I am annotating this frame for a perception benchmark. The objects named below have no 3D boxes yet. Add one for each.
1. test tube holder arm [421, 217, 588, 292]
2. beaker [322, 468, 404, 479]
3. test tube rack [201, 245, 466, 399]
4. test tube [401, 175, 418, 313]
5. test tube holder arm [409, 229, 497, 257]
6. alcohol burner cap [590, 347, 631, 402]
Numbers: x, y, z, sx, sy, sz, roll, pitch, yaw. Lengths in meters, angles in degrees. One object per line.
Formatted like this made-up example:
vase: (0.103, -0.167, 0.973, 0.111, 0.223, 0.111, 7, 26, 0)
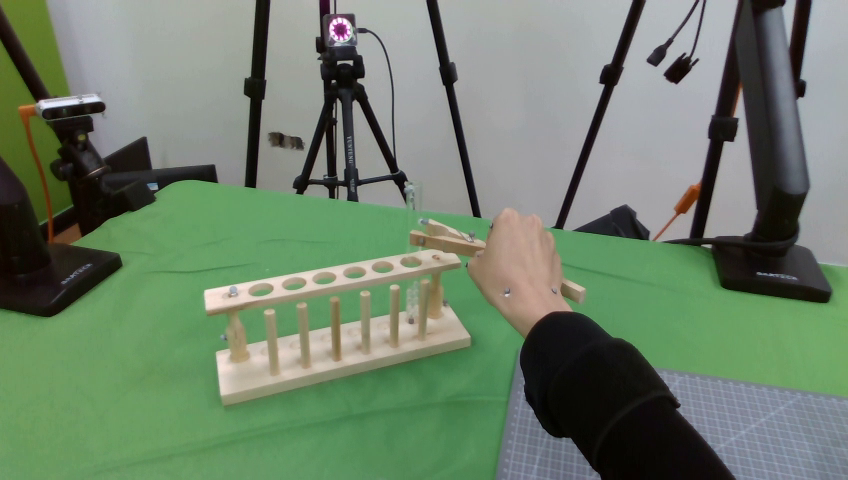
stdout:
test tube holder arm: (0.067, 0.010, 0.552, 0.177, 0.015, 0.013, 21, 43, 33)
beaker: (-0.040, 0.197, 0.358, 0.083, 0.101, 0.074, 12, 32, 19)
test tube rack: (-0.081, 0.072, 0.589, 0.243, 0.086, 0.066, -10, 32, -18)
test tube: (-0.015, 0.007, 0.604, 0.017, 0.151, 0.017, 1, 26, 0)
test tube holder arm: (0.027, 0.002, 0.570, 0.087, 0.015, 0.010, 8, 36, 19)
alcohol burner cap: (0.171, 0.119, 0.551, 0.034, 0.048, 0.033, 1, 29, 0)
